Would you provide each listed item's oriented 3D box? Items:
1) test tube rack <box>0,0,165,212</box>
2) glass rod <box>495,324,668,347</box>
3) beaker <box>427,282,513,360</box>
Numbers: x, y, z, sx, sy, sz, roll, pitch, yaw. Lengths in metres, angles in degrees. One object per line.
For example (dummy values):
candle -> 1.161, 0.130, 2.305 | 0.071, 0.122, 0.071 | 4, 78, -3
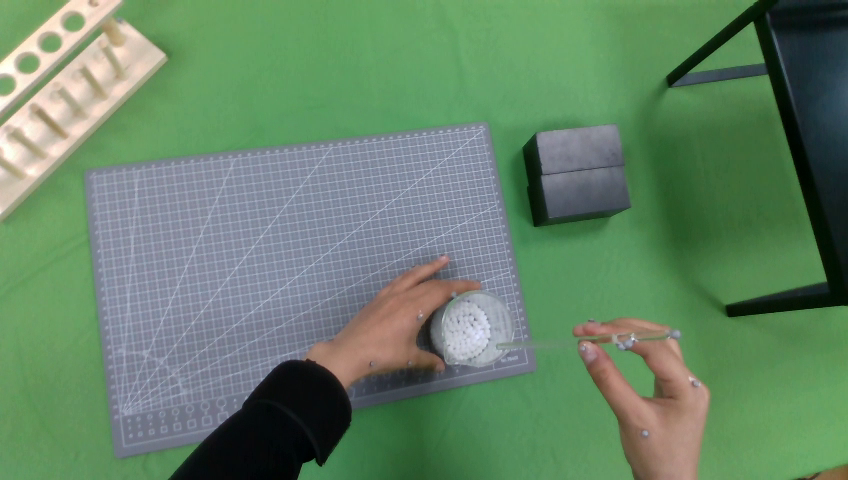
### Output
test tube rack -> -0.382, -0.146, 0.607 | 0.067, 0.085, 0.242 | 39, 77, -1
glass rod -> 0.108, 0.075, 0.463 | 0.008, 0.199, 0.008 | 6, 76, -25
beaker -> 0.042, 0.089, 0.634 | 0.074, 0.100, 0.084 | 43, 78, 0
